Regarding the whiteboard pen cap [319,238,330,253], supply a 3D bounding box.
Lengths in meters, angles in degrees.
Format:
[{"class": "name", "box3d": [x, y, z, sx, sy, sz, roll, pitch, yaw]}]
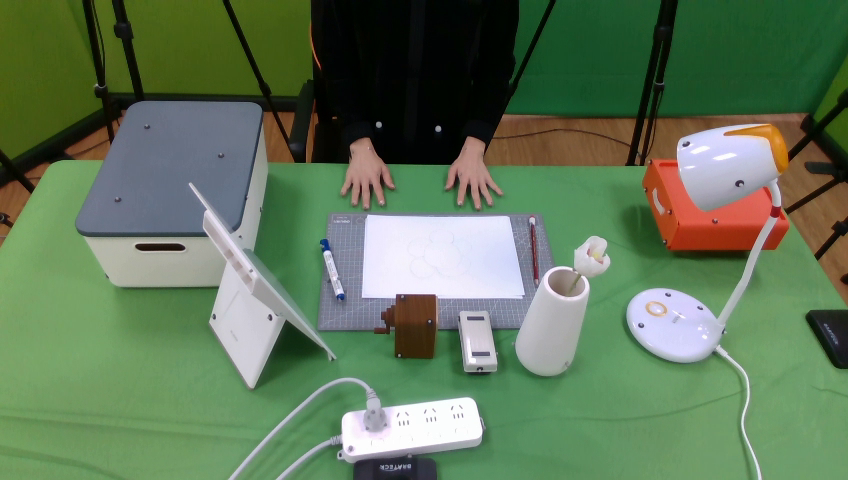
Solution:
[{"class": "whiteboard pen cap", "box3d": [-0.191, 0.013, 1.163, 0.018, 0.018, 0.033, -12, 49, -16]}]

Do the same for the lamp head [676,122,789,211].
[{"class": "lamp head", "box3d": [0.423, -0.104, 0.819, 0.122, 0.113, 0.112, -13, 33, 40]}]

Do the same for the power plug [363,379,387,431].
[{"class": "power plug", "box3d": [-0.072, 0.252, 0.910, 0.035, 0.053, 0.072, 3, 45, -1]}]

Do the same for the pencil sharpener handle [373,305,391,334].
[{"class": "pencil sharpener handle", "box3d": [-0.069, 0.133, 0.989, 0.030, 0.068, 0.036, 1, 47, -2]}]

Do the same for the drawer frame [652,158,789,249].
[{"class": "drawer frame", "box3d": [0.571, -0.075, 1.214, 0.214, 0.083, 0.200, 0, 45, -1]}]

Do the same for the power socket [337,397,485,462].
[{"class": "power socket", "box3d": [-0.018, 0.285, 0.915, 0.227, 0.033, 0.071, -5, 46, -8]}]

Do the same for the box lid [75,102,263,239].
[{"class": "box lid", "box3d": [-0.443, -0.138, 1.094, 0.263, 0.015, 0.369, -1, 47, -5]}]

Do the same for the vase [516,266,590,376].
[{"class": "vase", "box3d": [0.208, 0.132, 0.965, 0.098, 0.201, 0.097, 3, 46, -3]}]

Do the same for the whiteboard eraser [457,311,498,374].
[{"class": "whiteboard eraser", "box3d": [0.089, 0.173, 1.025, 0.055, 0.042, 0.112, -2, 47, -4]}]

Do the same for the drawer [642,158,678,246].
[{"class": "drawer", "box3d": [0.566, -0.076, 1.211, 0.212, 0.073, 0.193, 2, 45, -2]}]

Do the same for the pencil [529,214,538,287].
[{"class": "pencil", "box3d": [0.219, 0.019, 1.202, 0.012, 0.012, 0.193, 5, 47, 1]}]

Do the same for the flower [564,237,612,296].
[{"class": "flower", "box3d": [0.206, 0.088, 0.893, 0.038, 0.363, 0.044, -17, 67, -9]}]

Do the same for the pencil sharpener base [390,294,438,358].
[{"class": "pencil sharpener base", "box3d": [-0.018, 0.143, 1.000, 0.077, 0.107, 0.061, 1, 46, -2]}]

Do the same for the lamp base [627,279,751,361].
[{"class": "lamp base", "box3d": [0.459, 0.100, 1.027, 0.178, 0.181, 0.160, 27, 51, 17]}]

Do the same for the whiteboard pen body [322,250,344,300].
[{"class": "whiteboard pen body", "box3d": [-0.173, 0.056, 1.127, 0.017, 0.017, 0.140, -12, 49, -16]}]

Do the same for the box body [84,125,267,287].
[{"class": "box body", "box3d": [-0.446, -0.088, 1.150, 0.254, 0.161, 0.361, -1, 46, -5]}]

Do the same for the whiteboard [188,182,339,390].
[{"class": "whiteboard", "box3d": [-0.292, 0.096, 0.929, 0.144, 0.307, 0.216, -38, 57, -10]}]
